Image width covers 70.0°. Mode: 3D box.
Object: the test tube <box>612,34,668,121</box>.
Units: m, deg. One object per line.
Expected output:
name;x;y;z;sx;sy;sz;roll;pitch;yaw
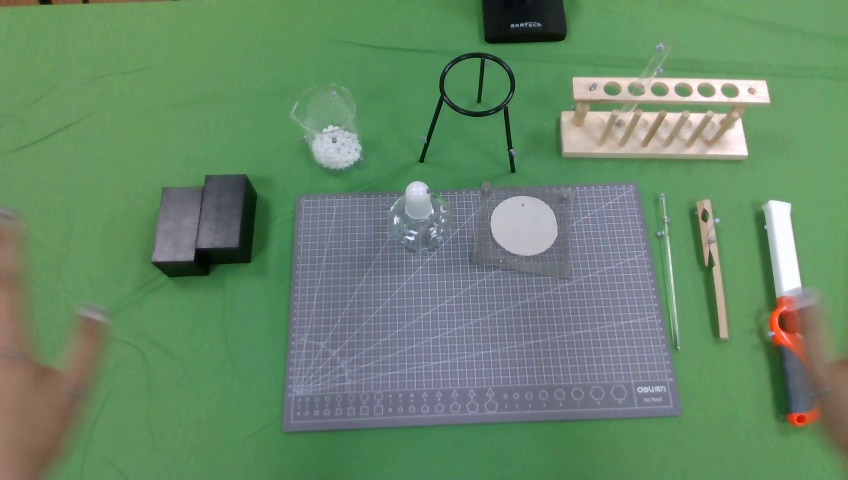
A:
test tube;0.265;-0.197;0.752;0.017;0.151;0.017;2;65;-3

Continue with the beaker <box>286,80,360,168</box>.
beaker;-0.125;-0.144;0.780;0.084;0.101;0.073;-10;67;-2

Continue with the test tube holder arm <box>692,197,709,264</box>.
test tube holder arm;0.351;-0.012;0.765;0.010;0.015;0.087;-15;63;33

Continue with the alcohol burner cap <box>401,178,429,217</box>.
alcohol burner cap;-0.011;-0.052;0.690;0.034;0.048;0.033;0;61;0

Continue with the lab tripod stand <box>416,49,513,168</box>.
lab tripod stand;0.057;-0.161;0.767;0.148;0.132;0.147;0;69;1

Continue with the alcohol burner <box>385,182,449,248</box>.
alcohol burner;-0.009;-0.036;0.723;0.078;0.120;0.077;-1;67;3

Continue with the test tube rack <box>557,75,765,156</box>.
test tube rack;0.304;-0.161;0.790;0.242;0.086;0.066;1;67;1

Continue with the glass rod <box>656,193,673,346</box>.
glass rod;0.298;0.033;0.751;0.008;0.008;0.198;3;70;2

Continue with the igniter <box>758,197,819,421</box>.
igniter;0.432;0.075;0.722;0.057;0.025;0.274;9;67;-7

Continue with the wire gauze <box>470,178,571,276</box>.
wire gauze;0.125;-0.021;0.773;0.125;0.011;0.120;9;69;3

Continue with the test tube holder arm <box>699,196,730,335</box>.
test tube holder arm;0.356;0.028;0.745;0.013;0.015;0.177;-16;63;33
